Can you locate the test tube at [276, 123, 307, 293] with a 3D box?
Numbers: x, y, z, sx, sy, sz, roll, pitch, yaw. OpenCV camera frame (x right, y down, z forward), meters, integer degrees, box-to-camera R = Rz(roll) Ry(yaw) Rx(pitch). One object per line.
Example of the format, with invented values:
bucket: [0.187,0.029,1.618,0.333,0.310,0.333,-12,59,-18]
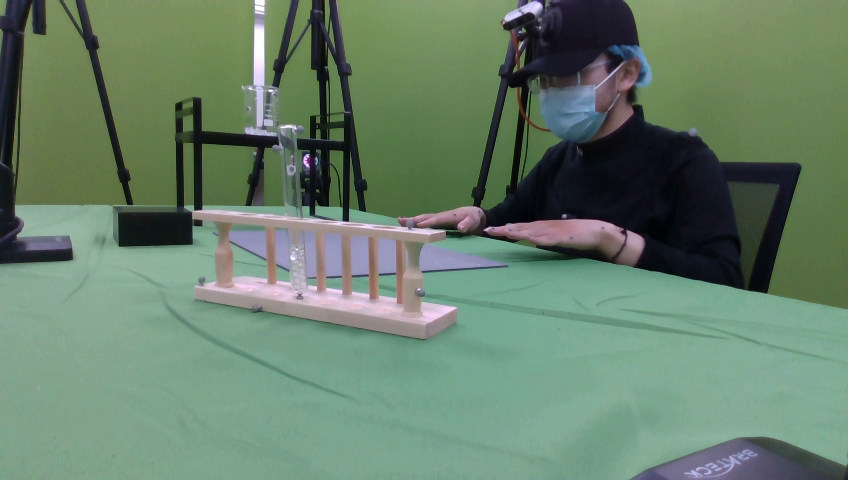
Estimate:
test tube: [-0.116,-0.027,0.532,0.017,0.150,0.017,-3,7,1]

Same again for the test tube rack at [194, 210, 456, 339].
test tube rack: [-0.093,0.023,0.546,0.241,0.085,0.067,6,8,25]

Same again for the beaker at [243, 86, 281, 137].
beaker: [-0.338,-0.265,1.253,0.073,0.100,0.084,8,9,38]
